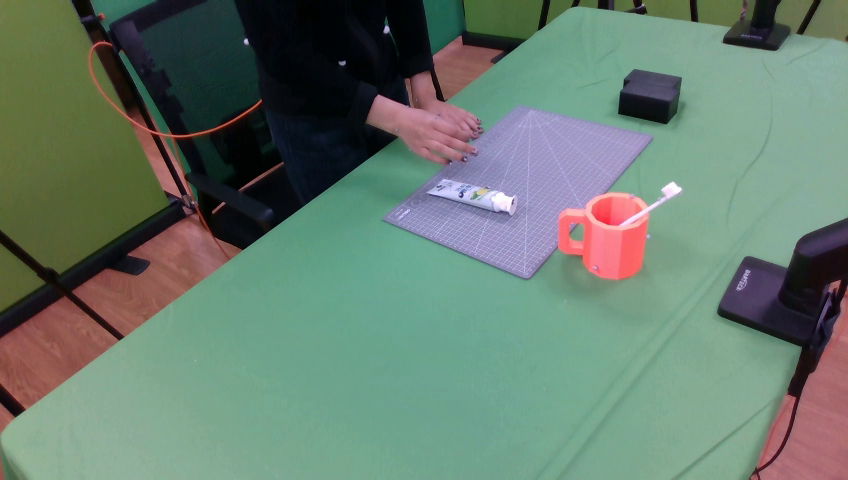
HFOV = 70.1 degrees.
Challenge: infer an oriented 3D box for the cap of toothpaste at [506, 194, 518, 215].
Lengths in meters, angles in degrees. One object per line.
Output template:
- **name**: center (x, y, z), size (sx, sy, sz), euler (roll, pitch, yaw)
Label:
- **cap of toothpaste**: center (0.146, -0.060, 1.008), size (0.011, 0.037, 0.037), euler (14, 46, 22)

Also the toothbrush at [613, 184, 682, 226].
- **toothbrush**: center (0.293, -0.035, 0.847), size (0.017, 0.181, 0.014), euler (29, 63, -7)

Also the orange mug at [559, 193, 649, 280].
- **orange mug**: center (0.261, -0.008, 0.884), size (0.126, 0.101, 0.083), euler (9, 43, 14)

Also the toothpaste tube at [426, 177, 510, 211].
- **toothpaste tube**: center (0.083, -0.082, 1.054), size (0.164, 0.034, 0.055), euler (18, 40, 34)
